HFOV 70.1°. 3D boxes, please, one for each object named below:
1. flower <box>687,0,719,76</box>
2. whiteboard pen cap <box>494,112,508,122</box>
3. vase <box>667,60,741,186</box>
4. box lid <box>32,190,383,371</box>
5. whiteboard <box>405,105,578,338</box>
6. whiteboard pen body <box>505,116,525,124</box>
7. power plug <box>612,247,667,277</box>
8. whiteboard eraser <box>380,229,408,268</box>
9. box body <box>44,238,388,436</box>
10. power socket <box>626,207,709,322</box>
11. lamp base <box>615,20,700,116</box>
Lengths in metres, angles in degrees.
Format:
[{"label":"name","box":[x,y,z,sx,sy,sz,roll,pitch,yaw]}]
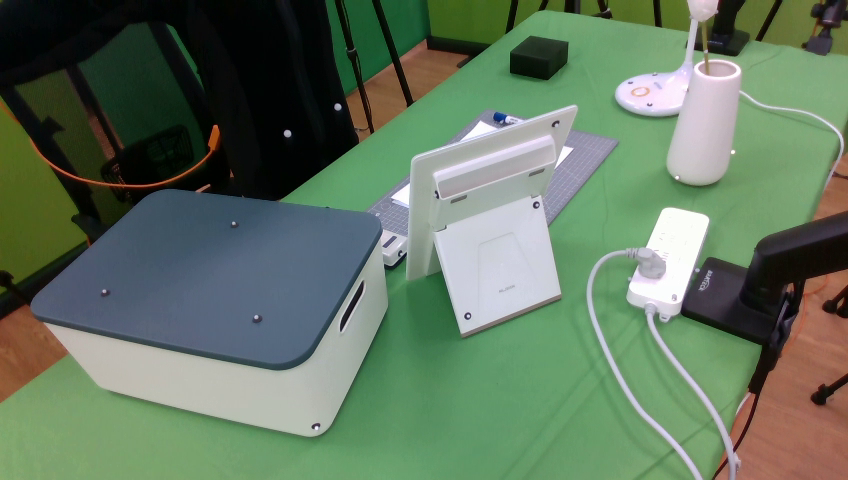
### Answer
[{"label":"flower","box":[0.436,-0.242,0.934,0.038,0.364,0.043,-24,49,8]},{"label":"whiteboard pen cap","box":[0.161,-0.253,1.248,0.033,0.018,0.018,27,51,36]},{"label":"vase","box":[0.463,-0.189,0.994,0.098,0.201,0.097,-4,40,3]},{"label":"box lid","box":[-0.257,0.032,0.750,0.370,0.015,0.263,7,41,16]},{"label":"whiteboard","box":[0.103,0.003,0.786,0.218,0.306,0.143,-19,62,-14]},{"label":"whiteboard pen body","box":[0.203,-0.232,1.213,0.139,0.017,0.017,28,51,36]},{"label":"power plug","box":[0.306,0.031,0.852,0.072,0.053,0.035,21,48,37]},{"label":"whiteboard eraser","box":[-0.081,0.007,0.963,0.112,0.042,0.056,19,48,27]},{"label":"box body","box":[-0.251,0.088,0.799,0.362,0.161,0.254,7,42,16]},{"label":"power socket","box":[0.360,0.026,0.886,0.072,0.033,0.227,17,46,27]},{"label":"lamp base","box":[0.484,-0.364,1.211,0.180,0.181,0.159,-15,41,-14]}]
